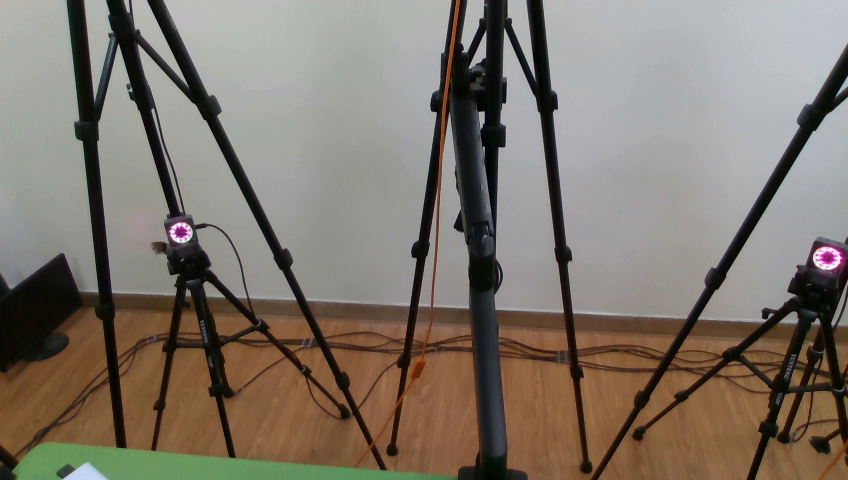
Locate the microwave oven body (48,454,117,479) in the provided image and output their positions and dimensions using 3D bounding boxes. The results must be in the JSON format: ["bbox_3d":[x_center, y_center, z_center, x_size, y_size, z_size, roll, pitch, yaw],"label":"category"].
[{"bbox_3d":[-0.454,0.521,0.656,0.323,0.262,0.441,19,39,29],"label":"microwave oven body"}]
